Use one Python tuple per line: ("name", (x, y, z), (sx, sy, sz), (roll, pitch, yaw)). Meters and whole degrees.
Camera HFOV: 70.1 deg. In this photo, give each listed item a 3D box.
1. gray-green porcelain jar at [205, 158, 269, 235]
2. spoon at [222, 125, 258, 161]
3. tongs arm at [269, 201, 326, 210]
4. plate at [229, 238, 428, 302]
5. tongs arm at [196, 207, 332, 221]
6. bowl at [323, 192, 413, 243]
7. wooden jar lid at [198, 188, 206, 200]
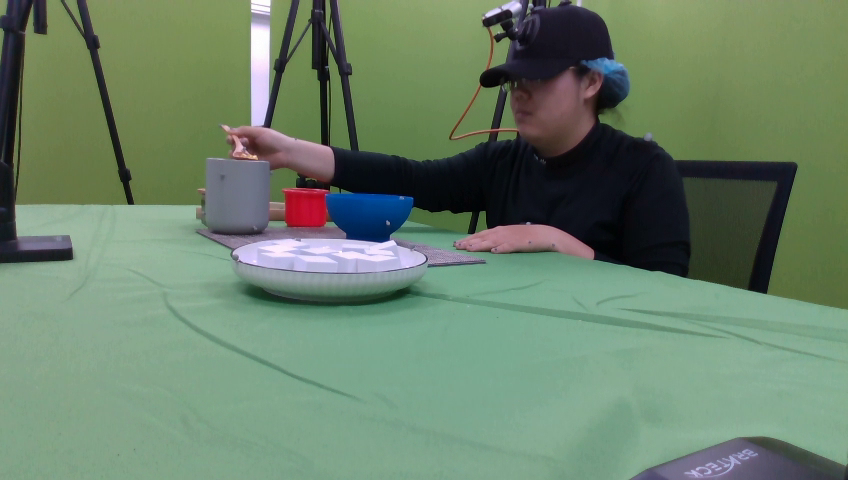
("gray-green porcelain jar", (-0.323, -0.076, 1.048), (0.106, 0.126, 0.106), (3, 7, 0))
("spoon", (-0.336, -0.177, 1.089), (0.042, 0.021, 0.193), (4, 28, -32))
("tongs arm", (-0.308, -0.073, 1.410), (0.385, 0.026, 0.050), (3, 8, -6))
("plate", (-0.099, 0.032, 0.651), (0.209, 0.038, 0.209), (3, 8, 0))
("tongs arm", (-0.294, -0.057, 1.330), (0.389, 0.028, 0.028), (0, 6, -20))
("bowl", (-0.094, -0.037, 1.015), (0.151, 0.077, 0.151), (3, 7, 0))
("wooden jar lid", (-0.382, -0.088, 1.175), (0.108, 0.020, 0.108), (3, 8, 0))
